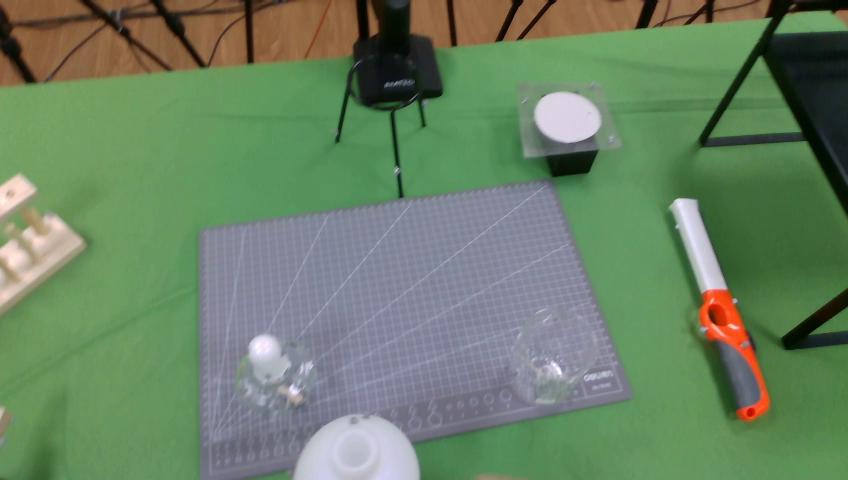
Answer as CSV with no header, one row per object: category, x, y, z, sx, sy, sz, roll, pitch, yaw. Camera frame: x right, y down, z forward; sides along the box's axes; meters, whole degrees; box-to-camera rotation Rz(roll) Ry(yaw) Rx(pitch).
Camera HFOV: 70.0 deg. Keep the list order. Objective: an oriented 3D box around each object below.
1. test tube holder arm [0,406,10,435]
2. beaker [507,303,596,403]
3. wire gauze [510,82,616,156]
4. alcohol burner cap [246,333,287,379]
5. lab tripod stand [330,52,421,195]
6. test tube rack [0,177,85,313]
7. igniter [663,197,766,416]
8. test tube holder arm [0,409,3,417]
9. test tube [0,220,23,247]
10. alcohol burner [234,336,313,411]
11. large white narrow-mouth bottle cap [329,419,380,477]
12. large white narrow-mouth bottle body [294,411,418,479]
test tube holder arm,-0.403,0.233,0.522,0.013,0.015,0.177,1,59,6
beaker,0.122,0.120,0.616,0.084,0.101,0.073,-8,59,-5
wire gauze,0.177,-0.162,0.787,0.121,0.011,0.124,-2,59,-4
alcohol burner cap,-0.148,0.106,0.563,0.034,0.048,0.033,-1,54,1
lab tripod stand,-0.051,-0.150,0.755,0.148,0.132,0.147,2,59,-3
test tube rack,-0.502,0.048,0.643,0.066,0.086,0.242,35,64,17
igniter,0.333,0.066,0.703,0.057,0.025,0.274,2,58,-13
test tube holder arm,-0.405,0.194,0.545,0.010,0.015,0.087,0,59,5
test tube,-0.472,-0.036,0.638,0.017,0.151,0.017,-1,57,1
alcohol burner,-0.150,0.124,0.594,0.078,0.120,0.077,2,57,-3
large white narrow-mouth bottle cap,-0.050,0.146,0.427,0.038,0.024,0.037,3,55,-3
large white narrow-mouth bottle body,-0.055,0.198,0.497,0.102,0.196,0.101,2,54,-3
